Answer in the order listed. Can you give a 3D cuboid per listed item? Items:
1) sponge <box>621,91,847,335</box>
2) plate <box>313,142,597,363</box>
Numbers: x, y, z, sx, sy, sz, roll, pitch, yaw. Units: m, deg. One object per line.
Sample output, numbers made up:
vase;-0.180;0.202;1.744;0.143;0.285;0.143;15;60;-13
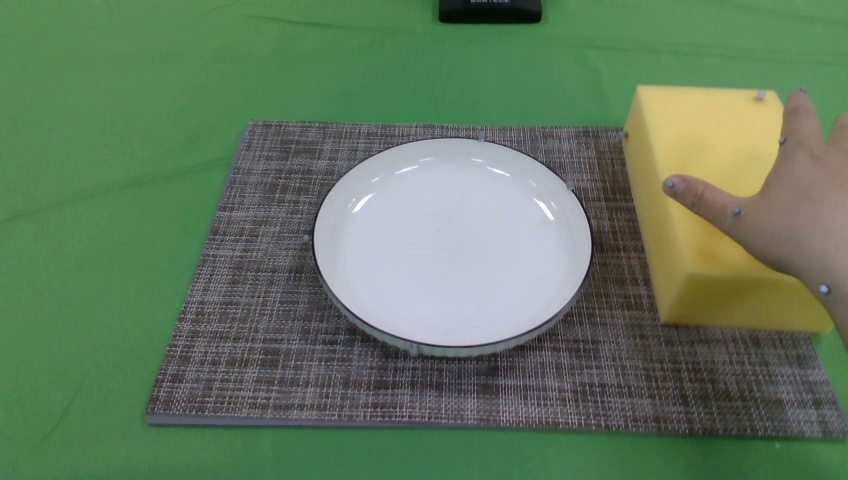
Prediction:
sponge;0.234;-0.030;0.474;0.118;0.061;0.205;3;49;2
plate;0.022;0.005;0.459;0.208;0.039;0.205;0;49;0
